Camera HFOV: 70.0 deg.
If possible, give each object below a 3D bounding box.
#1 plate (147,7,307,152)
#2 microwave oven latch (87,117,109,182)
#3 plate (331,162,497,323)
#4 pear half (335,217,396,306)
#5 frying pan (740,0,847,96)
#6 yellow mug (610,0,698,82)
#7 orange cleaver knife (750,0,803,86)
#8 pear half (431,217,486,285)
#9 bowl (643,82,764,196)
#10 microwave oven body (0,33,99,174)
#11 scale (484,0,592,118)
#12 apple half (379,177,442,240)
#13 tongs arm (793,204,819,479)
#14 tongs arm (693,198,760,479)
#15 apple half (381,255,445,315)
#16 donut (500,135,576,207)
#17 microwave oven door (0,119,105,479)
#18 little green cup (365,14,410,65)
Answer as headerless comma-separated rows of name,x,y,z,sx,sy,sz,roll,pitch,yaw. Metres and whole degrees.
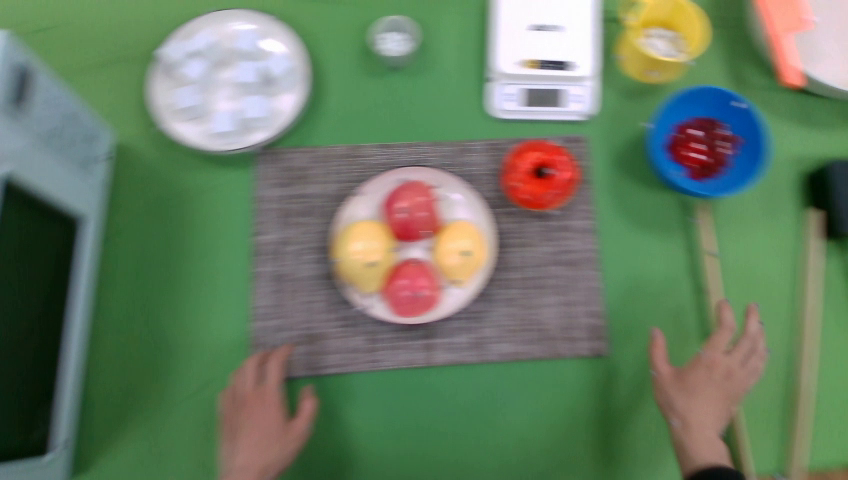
plate,-0.261,-0.212,0.816,0.208,0.039,0.206,1,77,-2
microwave oven latch,-0.421,-0.115,0.769,0.030,0.029,0.079,1,78,-2
plate,-0.012,0.004,0.772,0.209,0.038,0.208,1,77,-2
pear half,-0.069,0.025,0.743,0.076,0.056,0.109,-8,80,-13
frying pan,0.635,-0.248,0.823,0.307,0.103,0.484,-29,72,-7
yellow mug,0.307,-0.292,0.840,0.100,0.064,0.130,-35,80,-9
orange cleaver knife,0.468,-0.306,0.810,0.077,0.012,0.210,-12,78,-8
pear half,0.043,0.011,0.766,0.070,0.031,0.087,-5,74,11
bowl,0.353,-0.122,0.798,0.151,0.077,0.150,0,78,-2
microwave oven body,-0.564,0.036,0.631,0.326,0.261,0.439,0,78,-3
scale,0.159,-0.269,0.847,0.149,0.031,0.200,1,78,-1
apple half,-0.018,-0.043,0.765,0.075,0.053,0.080,-15,81,-2
tongs arm,0.482,0.137,0.772,0.028,0.028,0.386,13,77,-8
tongs arm,0.396,0.133,0.764,0.051,0.026,0.383,-2,78,-8
apple half,-0.015,0.054,0.752,0.081,0.033,0.080,1,70,-1
donut,0.148,-0.091,0.796,0.099,0.048,0.098,0,78,1
microwave oven door,-0.418,0.075,0.622,0.039,0.245,0.354,-1,77,-2
little green cup,-0.049,-0.275,0.838,0.061,0.039,0.061,0,77,-1
